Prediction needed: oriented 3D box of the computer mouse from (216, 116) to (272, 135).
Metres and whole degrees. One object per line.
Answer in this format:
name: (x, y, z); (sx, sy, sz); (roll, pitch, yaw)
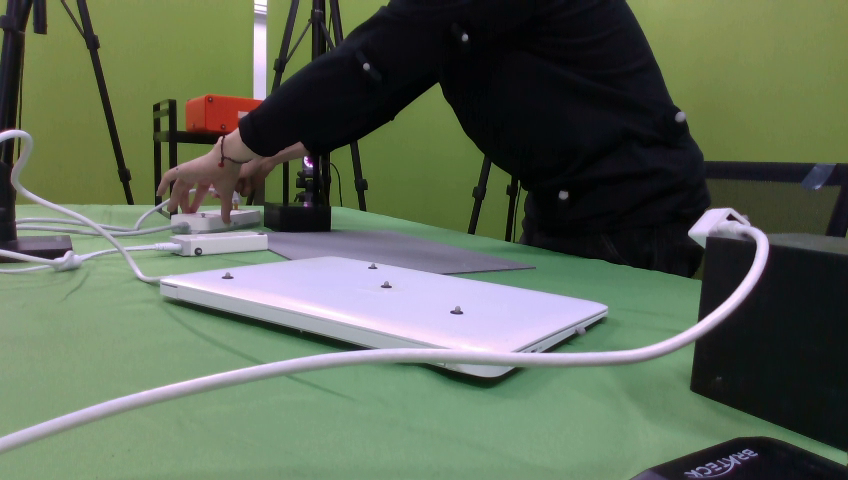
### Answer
computer mouse: (-0.401, -0.257, 1.353); (0.118, 0.041, 0.062); (-6, 14, -35)

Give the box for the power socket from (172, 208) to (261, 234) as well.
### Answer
power socket: (-0.381, -0.038, 1.129); (0.072, 0.032, 0.227); (3, 8, 12)

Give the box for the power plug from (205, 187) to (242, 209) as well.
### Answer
power plug: (-0.396, -0.078, 1.204); (0.072, 0.052, 0.035); (1, 3, 21)

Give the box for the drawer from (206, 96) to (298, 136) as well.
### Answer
drawer: (-0.413, -0.275, 1.376); (0.195, 0.073, 0.210); (-3, 8, -31)

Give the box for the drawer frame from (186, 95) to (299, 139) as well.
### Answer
drawer frame: (-0.417, -0.277, 1.378); (0.203, 0.082, 0.212); (-3, 8, -32)

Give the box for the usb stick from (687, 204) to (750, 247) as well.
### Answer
usb stick: (0.214, -0.010, 0.448); (0.021, 0.027, 0.059); (39, 2, 6)

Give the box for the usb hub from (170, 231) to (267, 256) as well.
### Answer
usb hub: (-0.290, 0.005, 0.862); (0.049, 0.025, 0.126); (10, 11, 42)

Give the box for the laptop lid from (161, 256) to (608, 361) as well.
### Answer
laptop lid: (-0.037, 0.046, 0.555); (0.355, 0.013, 0.243); (8, 8, 35)

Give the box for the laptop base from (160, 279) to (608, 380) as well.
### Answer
laptop base: (-0.038, 0.059, 0.555); (0.352, 0.023, 0.237); (8, 7, 33)
